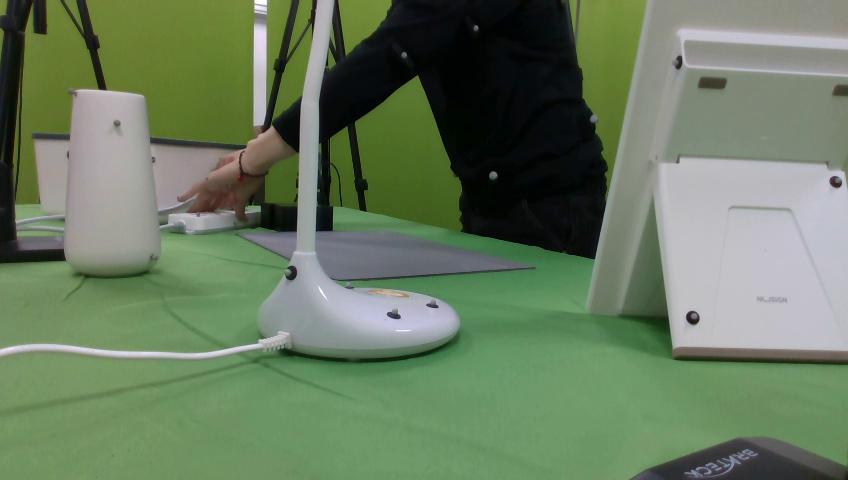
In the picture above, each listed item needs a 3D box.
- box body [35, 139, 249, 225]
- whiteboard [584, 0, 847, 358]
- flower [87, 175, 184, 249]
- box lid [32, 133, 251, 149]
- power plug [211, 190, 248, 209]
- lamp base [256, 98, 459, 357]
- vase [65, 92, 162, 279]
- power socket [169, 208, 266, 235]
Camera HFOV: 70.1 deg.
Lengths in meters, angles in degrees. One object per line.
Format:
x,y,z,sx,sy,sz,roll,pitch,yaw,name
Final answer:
-0.561,-0.127,1.258,0.254,0.160,0.365,4,8,13,box body
0.269,-0.034,0.466,0.217,0.305,0.143,2,27,-1,whiteboard
-0.610,-0.063,1.291,0.044,0.038,0.361,-5,25,9,flower
-0.558,-0.200,1.250,0.263,0.015,0.372,5,8,13,box lid
-0.385,-0.073,1.208,0.072,0.052,0.035,6,13,25,power plug
-0.055,-0.013,0.463,0.160,0.180,0.180,6,11,27,lamp base
-0.347,-0.060,0.673,0.098,0.200,0.098,1,7,0,vase
-0.379,-0.038,1.129,0.072,0.032,0.227,4,8,18,power socket
